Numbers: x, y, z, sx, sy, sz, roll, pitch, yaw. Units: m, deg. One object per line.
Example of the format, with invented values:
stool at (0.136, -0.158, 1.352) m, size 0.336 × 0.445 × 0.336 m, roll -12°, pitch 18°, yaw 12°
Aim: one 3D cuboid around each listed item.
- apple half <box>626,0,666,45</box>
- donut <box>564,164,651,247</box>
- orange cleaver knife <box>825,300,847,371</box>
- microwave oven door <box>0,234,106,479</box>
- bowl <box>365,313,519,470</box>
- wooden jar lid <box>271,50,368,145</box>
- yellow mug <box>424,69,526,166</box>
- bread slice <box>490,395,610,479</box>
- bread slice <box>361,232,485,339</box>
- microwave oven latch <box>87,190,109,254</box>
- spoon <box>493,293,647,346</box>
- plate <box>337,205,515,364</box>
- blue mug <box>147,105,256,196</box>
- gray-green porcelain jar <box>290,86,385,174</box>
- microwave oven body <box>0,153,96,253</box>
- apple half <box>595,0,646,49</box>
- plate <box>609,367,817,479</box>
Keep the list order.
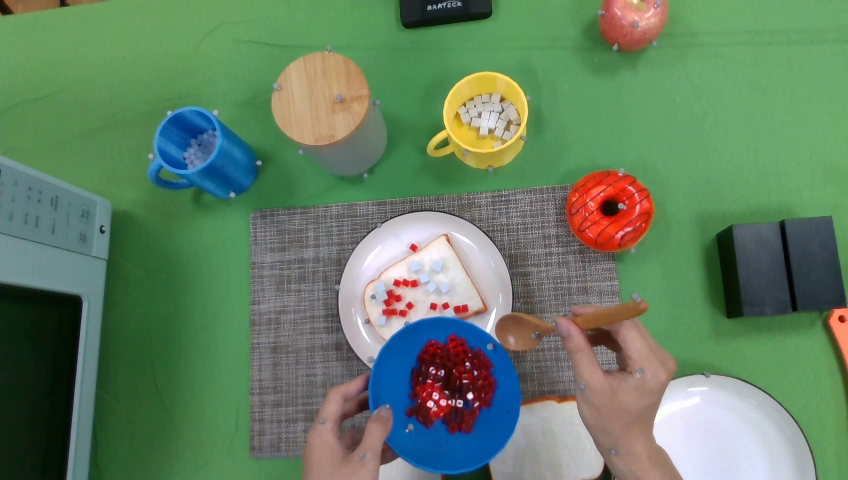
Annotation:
apple half at (0.258, -0.280, 0.730) m, size 0.053 × 0.075 × 0.080 m, roll -36°, pitch 74°, yaw -6°
donut at (0.212, -0.040, 0.705) m, size 0.099 × 0.048 × 0.098 m, roll -1°, pitch 81°, yaw 7°
orange cleaver knife at (0.488, 0.160, 0.654) m, size 0.077 × 0.012 × 0.210 m, roll -3°, pitch 79°, yaw 0°
microwave oven door at (-0.435, 0.175, 0.629) m, size 0.039 × 0.245 × 0.354 m, roll -2°, pitch 80°, yaw 7°
bowl at (0.012, 0.157, 0.611) m, size 0.152 × 0.077 × 0.150 m, roll 5°, pitch 64°, yaw -10°
wooden jar lid at (-0.113, -0.154, 0.662) m, size 0.108 × 0.021 × 0.108 m, roll -2°, pitch 78°, yaw 7°
yellow mug at (0.059, -0.139, 0.734) m, size 0.131 × 0.064 × 0.099 m, roll -28°, pitch 78°, yaw 2°
bread slice at (0.135, 0.224, 0.648) m, size 0.135 × 0.018 × 0.106 m, roll -8°, pitch 75°, yaw -15°
bread slice at (-0.007, 0.065, 0.718) m, size 0.131 × 0.019 × 0.104 m, roll -30°, pitch 78°, yaw -1°
microwave oven latch at (-0.420, -0.022, 0.766) m, size 0.030 × 0.029 × 0.079 m, roll 1°, pitch 81°, yaw 7°
spoon at (0.116, 0.068, 0.511) m, size 0.021 × 0.193 × 0.041 m, roll -37°, pitch 94°, yaw -26°
plate at (0.002, 0.063, 0.716) m, size 0.207 × 0.039 × 0.207 m, roll -1°, pitch 80°, yaw 7°
blue mug at (-0.280, -0.099, 0.747) m, size 0.116 × 0.106 × 0.082 m, roll -30°, pitch 77°, yaw 1°
gray-green porcelain jar at (-0.105, -0.142, 0.723) m, size 0.106 × 0.127 × 0.105 m, roll -1°, pitch 79°, yaw 7°
microwave oven body at (-0.579, 0.137, 0.659) m, size 0.326 × 0.261 × 0.440 m, roll -1°, pitch 80°, yaw 6°
apple half at (0.227, -0.256, 0.728) m, size 0.033 × 0.081 × 0.081 m, roll -37°, pitch 77°, yaw -5°
plate at (0.304, 0.242, 0.651) m, size 0.209 × 0.038 × 0.208 m, roll -1°, pitch 80°, yaw 7°
